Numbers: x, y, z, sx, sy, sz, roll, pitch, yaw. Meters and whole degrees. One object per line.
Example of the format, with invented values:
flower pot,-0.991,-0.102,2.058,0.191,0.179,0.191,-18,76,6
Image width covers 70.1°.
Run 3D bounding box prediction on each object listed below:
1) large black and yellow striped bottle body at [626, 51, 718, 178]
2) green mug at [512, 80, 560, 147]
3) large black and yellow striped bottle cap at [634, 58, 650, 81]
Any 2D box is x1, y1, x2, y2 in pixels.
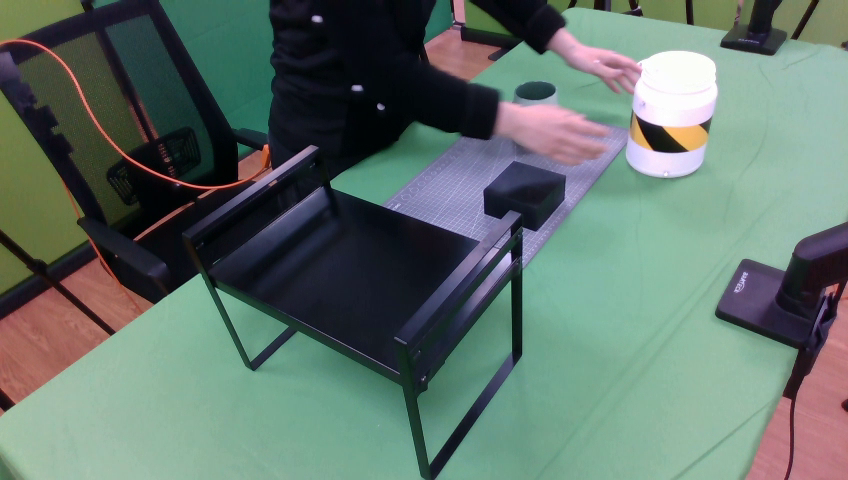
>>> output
large black and yellow striped bottle body,0.424,-0.214,1.037,0.131,0.185,0.130,-4,41,4
green mug,0.218,-0.251,1.168,0.092,0.105,0.125,2,42,12
large black and yellow striped bottle cap,0.522,-0.370,1.331,0.115,0.019,0.114,-3,41,3
